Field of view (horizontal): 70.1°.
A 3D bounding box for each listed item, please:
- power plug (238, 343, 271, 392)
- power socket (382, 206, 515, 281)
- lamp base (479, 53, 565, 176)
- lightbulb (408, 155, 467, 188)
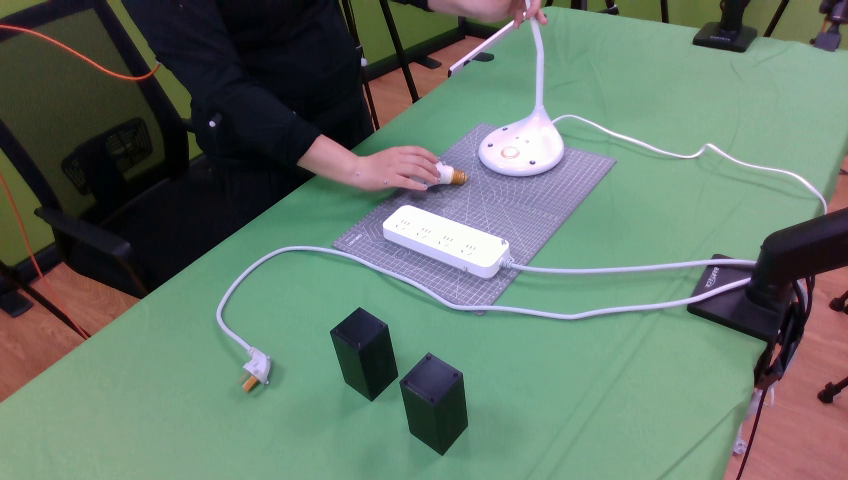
[{"bbox_3d":[-0.230,0.172,0.800,0.072,0.035,0.053,8,49,49],"label":"power plug"},{"bbox_3d":[0.032,0.002,0.950,0.225,0.033,0.072,21,49,29],"label":"power socket"},{"bbox_3d":[0.181,-0.235,1.093,0.159,0.181,0.179,18,44,27],"label":"lamp base"},{"bbox_3d":[0.025,-0.118,1.077,0.108,0.059,0.059,9,39,-8],"label":"lightbulb"}]
